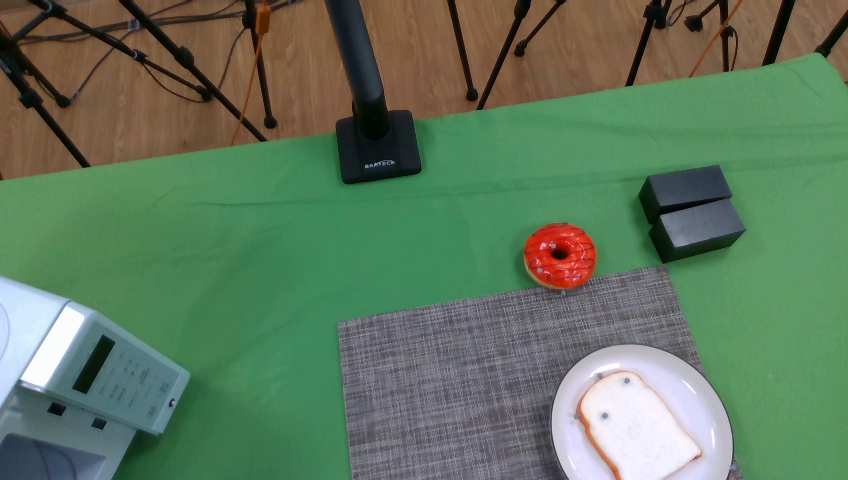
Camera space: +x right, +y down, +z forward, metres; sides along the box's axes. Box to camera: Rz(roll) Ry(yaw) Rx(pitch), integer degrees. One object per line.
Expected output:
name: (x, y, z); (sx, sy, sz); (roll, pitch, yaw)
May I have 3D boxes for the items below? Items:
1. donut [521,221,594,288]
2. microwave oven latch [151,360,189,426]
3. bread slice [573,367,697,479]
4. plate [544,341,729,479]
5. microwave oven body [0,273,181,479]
donut: (0.179, 0.020, 0.813); (0.099, 0.048, 0.098); (-3, 62, 5)
microwave oven latch: (-0.317, 0.183, 0.737); (0.030, 0.030, 0.079); (18, 67, 10)
bread slice: (0.241, 0.218, 0.717); (0.105, 0.019, 0.130); (-29, 67, -12)
plate: (0.244, 0.224, 0.712); (0.207, 0.039, 0.206); (-1, 64, 2)
microwave oven body: (-0.519, 0.252, 0.604); (0.325, 0.262, 0.439); (16, 67, 9)
